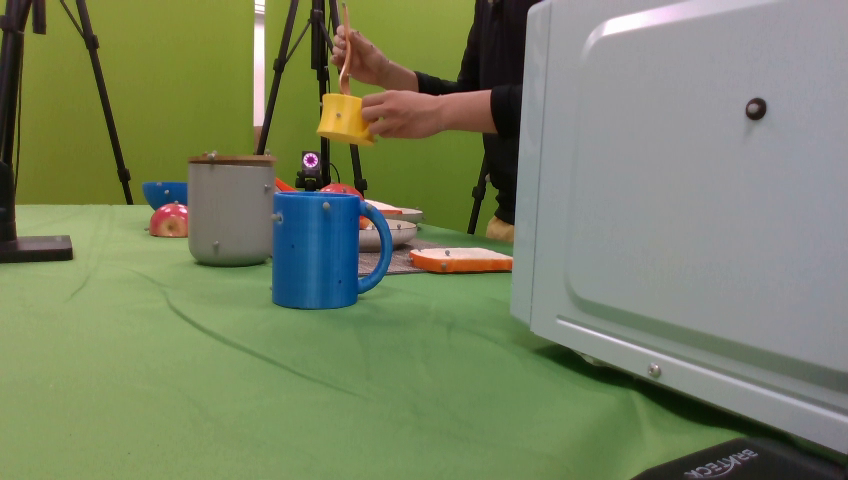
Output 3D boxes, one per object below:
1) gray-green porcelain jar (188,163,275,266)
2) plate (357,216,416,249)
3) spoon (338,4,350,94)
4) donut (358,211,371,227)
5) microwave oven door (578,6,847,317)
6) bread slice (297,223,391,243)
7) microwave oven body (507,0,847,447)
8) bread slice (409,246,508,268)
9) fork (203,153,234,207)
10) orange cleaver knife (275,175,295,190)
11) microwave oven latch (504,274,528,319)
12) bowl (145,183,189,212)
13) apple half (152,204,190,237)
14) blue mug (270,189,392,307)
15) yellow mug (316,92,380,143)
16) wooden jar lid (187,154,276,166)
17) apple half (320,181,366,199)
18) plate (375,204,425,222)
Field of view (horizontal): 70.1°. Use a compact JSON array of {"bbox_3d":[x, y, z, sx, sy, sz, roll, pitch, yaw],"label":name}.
[{"bbox_3d":[-0.246,-0.034,0.780,0.106,0.126,0.106,2,7,0],"label":"gray-green porcelain jar"},{"bbox_3d":[-0.116,-0.014,0.967,0.208,0.039,0.207,2,7,0],"label":"plate"},{"bbox_3d":[-0.142,-0.342,1.103,0.021,0.193,0.042,-4,-11,19],"label":"spoon"},{"bbox_3d":[-0.132,-0.041,0.959,0.099,0.048,0.099,3,8,0],"label":"donut"},{"bbox_3d":[0.294,-0.067,0.570,0.358,0.243,0.039,-3,9,-31],"label":"microwave oven door"},{"bbox_3d":[-0.121,-0.013,0.971,0.106,0.018,0.135,9,11,42],"label":"bread slice"},{"bbox_3d":[0.331,-0.042,0.425,0.444,0.260,0.324,-2,8,-31],"label":"microwave oven body"},{"bbox_3d":[0.048,0.022,0.816,0.132,0.019,0.104,0,6,-24],"label":"bread slice"},{"bbox_3d":[-0.480,-0.134,1.411,0.028,0.018,0.207,1,-35,0],"label":"fork"},{"bbox_3d":[-0.283,-0.087,1.343,0.212,0.077,0.012,24,-16,-41],"label":"orange cleaver knife"},{"bbox_3d":[0.100,0.041,0.470,0.079,0.029,0.030,-1,7,-27],"label":"microwave oven latch"},{"bbox_3d":[-0.459,-0.069,1.175,0.151,0.077,0.151,3,7,0],"label":"bowl"},{"bbox_3d":[-0.415,-0.034,1.017,0.081,0.053,0.074,1,10,-9],"label":"apple half"},{"bbox_3d":[-0.090,0.005,0.588,0.117,0.106,0.082,1,7,-10],"label":"blue mug"},{"bbox_3d":[-0.121,-0.208,1.032,0.100,0.064,0.130,9,1,-40],"label":"yellow mug"},{"bbox_3d":[-0.244,-0.097,0.771,0.108,0.020,0.108,-1,7,0],"label":"wooden jar lid"},{"bbox_3d":[-0.129,-0.077,0.952,0.081,0.033,0.081,2,15,0],"label":"apple half"},{"bbox_3d":[-0.102,-0.053,1.299,0.209,0.038,0.209,2,8,0],"label":"plate"}]
